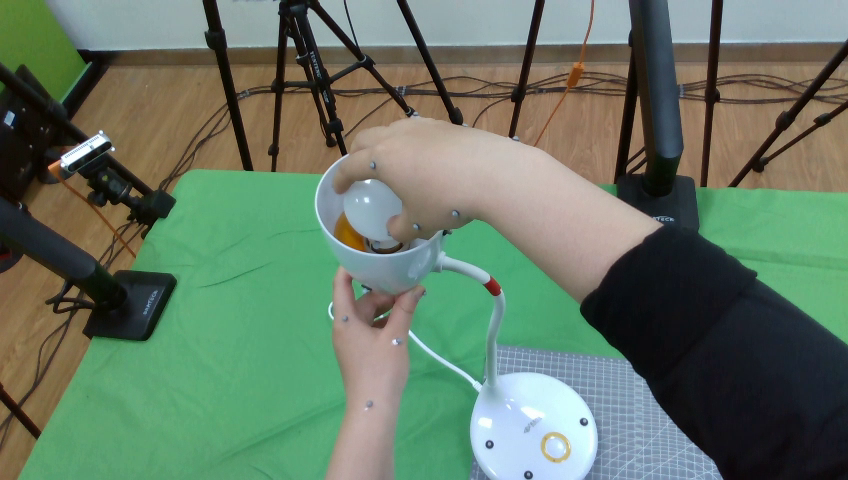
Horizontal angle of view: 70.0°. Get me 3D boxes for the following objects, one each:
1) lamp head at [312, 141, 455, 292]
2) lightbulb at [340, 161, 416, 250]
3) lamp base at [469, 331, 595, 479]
[{"bbox_3d":[-0.029,-0.007,0.526,0.112,0.124,0.111,-3,57,5],"label":"lamp head"},{"bbox_3d":[-0.036,-0.021,0.497,0.059,0.108,0.059,0,63,0],"label":"lightbulb"},{"bbox_3d":[0.116,0.187,0.721,0.177,0.182,0.160,27,62,29],"label":"lamp base"}]
